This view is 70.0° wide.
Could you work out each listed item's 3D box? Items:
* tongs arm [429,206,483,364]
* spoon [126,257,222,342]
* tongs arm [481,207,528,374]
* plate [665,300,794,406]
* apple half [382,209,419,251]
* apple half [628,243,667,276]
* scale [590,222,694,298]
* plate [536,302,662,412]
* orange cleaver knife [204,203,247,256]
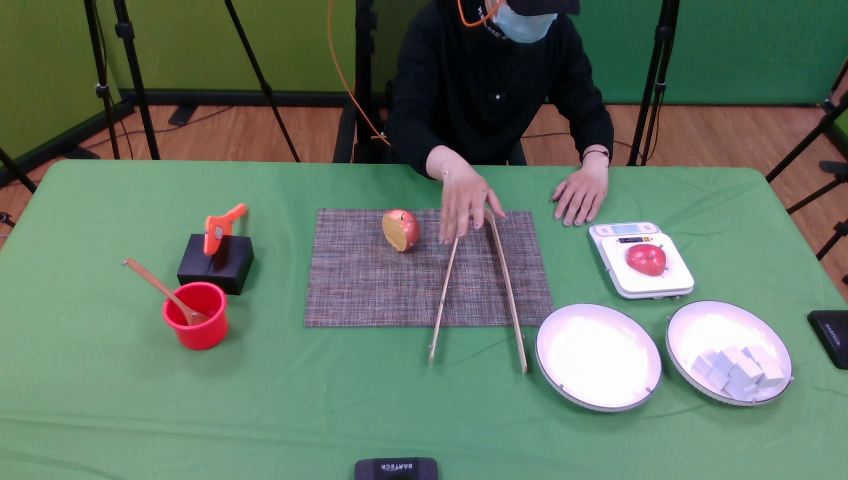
[{"bbox_3d":[0.064,0.068,1.123,0.051,0.026,0.382,8,45,5],"label":"tongs arm"},{"bbox_3d":[-0.408,0.096,0.990,0.194,0.021,0.041,50,53,-18],"label":"spoon"},{"bbox_3d":[0.149,0.077,1.123,0.028,0.028,0.385,-5,46,-2],"label":"tongs arm"},{"bbox_3d":[0.513,0.194,1.034,0.208,0.039,0.206,2,46,-2],"label":"plate"},{"bbox_3d":[-0.039,-0.022,1.175,0.053,0.075,0.080,-27,50,-31],"label":"apple half"},{"bbox_3d":[0.427,0.028,1.150,0.081,0.033,0.081,3,47,-3],"label":"apple half"},{"bbox_3d":[0.424,0.031,1.189,0.149,0.032,0.199,-3,46,-7],"label":"scale"},{"bbox_3d":[0.288,0.197,1.016,0.209,0.038,0.208,2,46,-2],"label":"plate"},{"bbox_3d":[-0.374,-0.024,1.146,0.012,0.077,0.211,4,14,1],"label":"orange cleaver knife"}]
